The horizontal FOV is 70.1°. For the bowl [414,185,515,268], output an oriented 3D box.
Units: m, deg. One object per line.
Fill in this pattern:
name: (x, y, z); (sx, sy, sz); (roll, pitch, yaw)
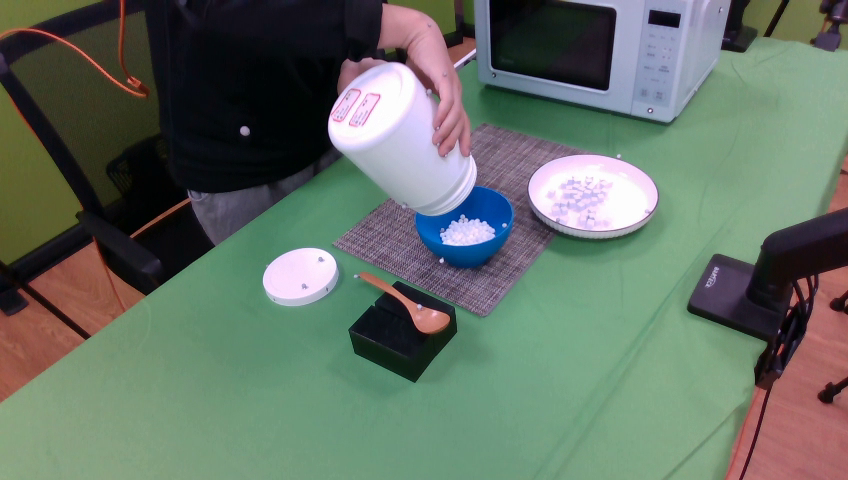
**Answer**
bowl: (0.063, -0.010, 0.922); (0.151, 0.077, 0.150); (-4, 40, 4)

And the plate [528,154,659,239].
plate: (0.274, -0.069, 0.993); (0.209, 0.038, 0.208); (-2, 42, 2)

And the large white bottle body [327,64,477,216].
large white bottle body: (-0.021, -0.122, 0.791); (0.130, 0.186, 0.130); (-20, 51, 27)

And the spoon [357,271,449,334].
spoon: (-0.034, 0.078, 0.812); (0.042, 0.022, 0.192); (-35, 42, -24)

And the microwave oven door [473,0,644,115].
microwave oven door: (0.257, -0.396, 1.199); (0.353, 0.245, 0.039); (21, 48, 29)

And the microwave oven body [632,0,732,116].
microwave oven body: (0.377, -0.463, 1.267); (0.438, 0.261, 0.327); (21, 49, 30)

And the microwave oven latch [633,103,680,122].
microwave oven latch: (0.443, -0.249, 1.157); (0.078, 0.029, 0.030); (21, 49, 30)

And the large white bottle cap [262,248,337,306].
large white bottle cap: (-0.193, 0.056, 0.933); (0.115, 0.018, 0.114); (-5, 41, 4)
